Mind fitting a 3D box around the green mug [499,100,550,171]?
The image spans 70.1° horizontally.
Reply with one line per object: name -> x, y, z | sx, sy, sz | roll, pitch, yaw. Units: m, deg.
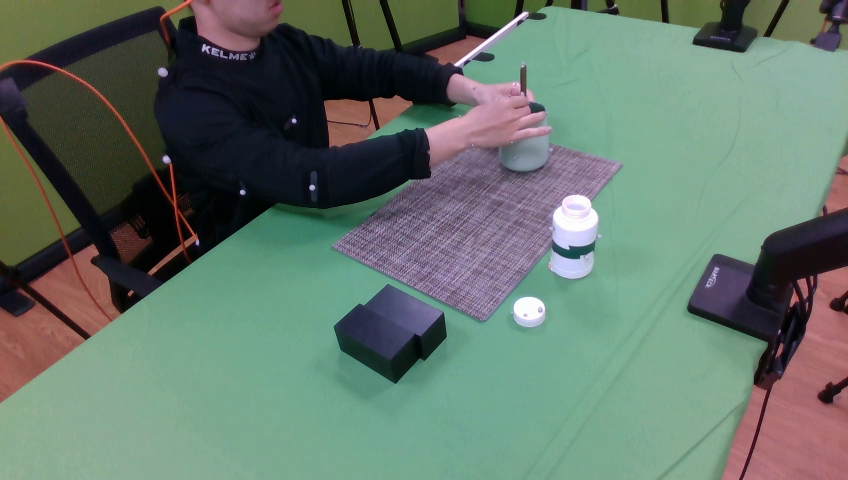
green mug -> 0.183, -0.197, 1.101 | 0.092, 0.105, 0.125 | 1, 41, 9

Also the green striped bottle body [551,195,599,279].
green striped bottle body -> 0.217, -0.006, 0.870 | 0.063, 0.120, 0.063 | -4, 41, 4

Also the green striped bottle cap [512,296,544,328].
green striped bottle cap -> 0.144, 0.099, 0.837 | 0.044, 0.020, 0.044 | -1, 43, 2

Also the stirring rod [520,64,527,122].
stirring rod -> 0.174, -0.228, 1.055 | 0.006, 0.177, 0.014 | 25, 56, 28
